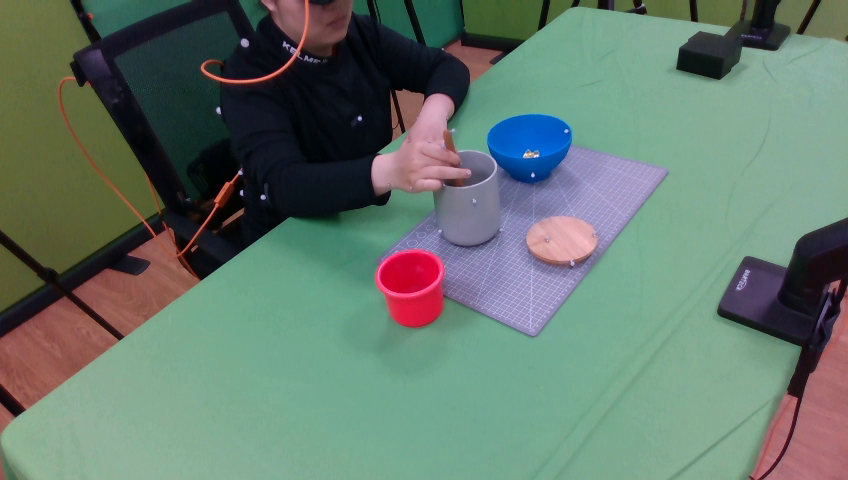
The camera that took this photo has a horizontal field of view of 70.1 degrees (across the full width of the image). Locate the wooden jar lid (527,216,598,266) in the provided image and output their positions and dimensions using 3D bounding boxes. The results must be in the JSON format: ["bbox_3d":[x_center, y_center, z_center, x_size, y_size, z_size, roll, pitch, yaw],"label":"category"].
[{"bbox_3d":[0.214,0.003,0.937,0.108,0.021,0.108,-4,40,4],"label":"wooden jar lid"}]

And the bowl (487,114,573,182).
[{"bbox_3d":[0.190,-0.156,1.085,0.151,0.077,0.150,-5,40,5],"label":"bowl"}]

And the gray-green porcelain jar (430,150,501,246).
[{"bbox_3d":[0.069,-0.062,0.959,0.106,0.127,0.105,-5,40,5],"label":"gray-green porcelain jar"}]

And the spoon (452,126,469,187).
[{"bbox_3d":[0.059,-0.104,0.937,0.041,0.195,0.021,4,50,15],"label":"spoon"}]
